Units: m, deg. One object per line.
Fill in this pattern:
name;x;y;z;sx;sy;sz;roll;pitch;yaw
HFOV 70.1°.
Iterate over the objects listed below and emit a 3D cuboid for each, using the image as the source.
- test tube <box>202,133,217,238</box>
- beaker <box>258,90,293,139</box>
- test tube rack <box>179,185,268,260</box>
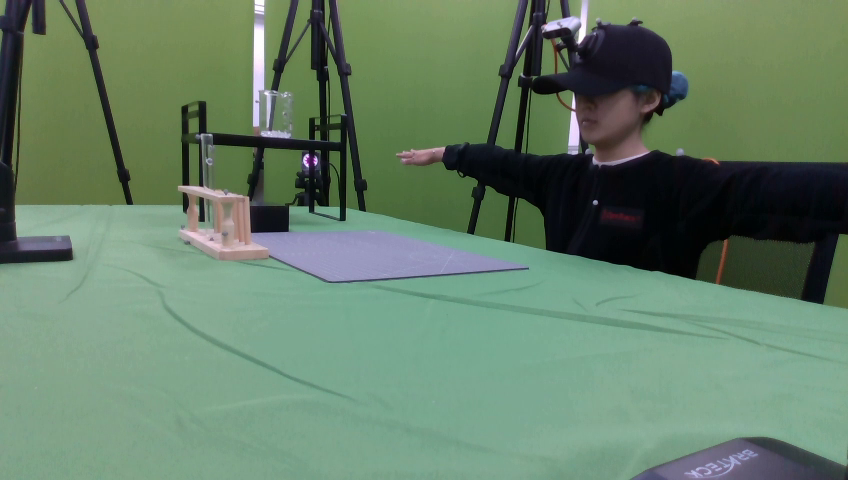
test tube;-0.307;-0.078;0.868;0.017;0.150;0.017;1;10;0
beaker;-0.324;-0.274;1.326;0.074;0.100;0.083;-2;10;-33
test tube rack;-0.303;-0.031;0.898;0.067;0.085;0.241;-2;9;-33
